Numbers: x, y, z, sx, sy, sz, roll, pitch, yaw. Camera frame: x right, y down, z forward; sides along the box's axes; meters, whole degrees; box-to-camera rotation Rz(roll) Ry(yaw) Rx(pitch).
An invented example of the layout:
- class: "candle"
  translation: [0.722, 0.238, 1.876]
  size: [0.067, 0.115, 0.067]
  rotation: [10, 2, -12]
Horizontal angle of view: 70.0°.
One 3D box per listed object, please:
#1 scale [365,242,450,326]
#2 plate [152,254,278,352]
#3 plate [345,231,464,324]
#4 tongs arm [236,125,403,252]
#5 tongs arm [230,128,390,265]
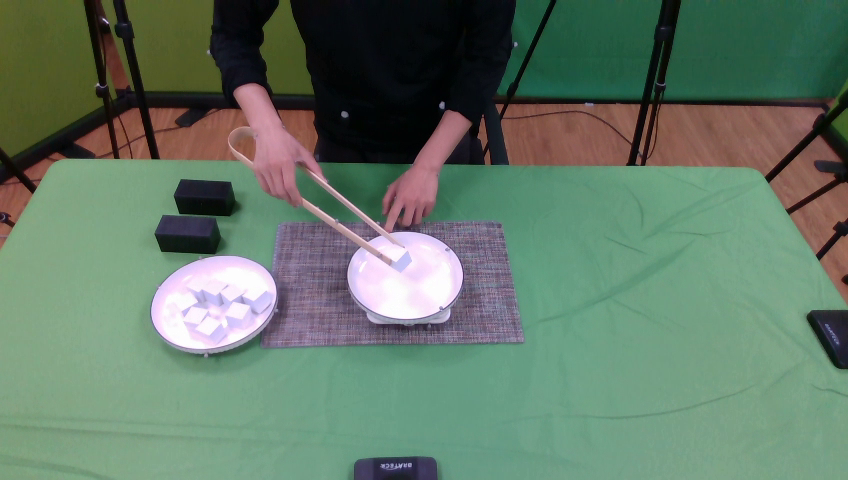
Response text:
- class: "scale"
  translation: [-0.032, 0.071, 1.113]
  size: [0.149, 0.032, 0.199]
  rotation: [1, 46, -4]
- class: "plate"
  translation: [-0.357, 0.111, 1.052]
  size: [0.208, 0.039, 0.206]
  rotation: [2, 46, -2]
- class: "plate"
  translation: [-0.034, 0.069, 1.069]
  size: [0.209, 0.038, 0.208]
  rotation: [2, 46, -2]
- class: "tongs arm"
  translation: [-0.187, -0.096, 1.072]
  size: [0.386, 0.028, 0.028]
  rotation: [37, 73, 14]
- class: "tongs arm"
  translation: [-0.201, -0.081, 1.064]
  size: [0.384, 0.026, 0.050]
  rotation: [33, 69, 13]
